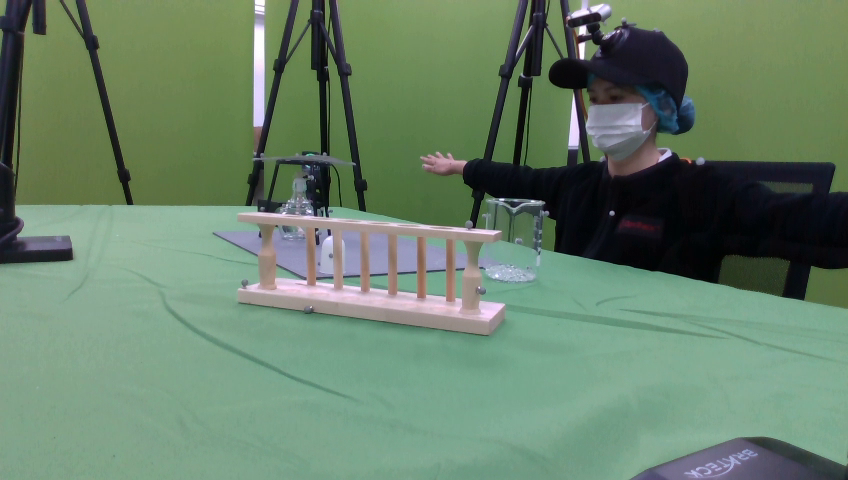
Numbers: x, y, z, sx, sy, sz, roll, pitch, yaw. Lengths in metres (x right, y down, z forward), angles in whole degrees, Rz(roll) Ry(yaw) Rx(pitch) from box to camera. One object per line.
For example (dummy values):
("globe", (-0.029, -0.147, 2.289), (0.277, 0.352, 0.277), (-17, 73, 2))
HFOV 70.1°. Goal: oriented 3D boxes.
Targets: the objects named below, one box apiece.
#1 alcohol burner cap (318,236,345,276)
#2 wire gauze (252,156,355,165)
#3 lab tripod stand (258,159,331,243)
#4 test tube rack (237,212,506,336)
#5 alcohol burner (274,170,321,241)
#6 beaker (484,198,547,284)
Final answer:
("alcohol burner cap", (-0.110, 0.019, 0.723), (0.034, 0.048, 0.034), (2, 6, 0))
("wire gauze", (-0.196, -0.133, 0.999), (0.121, 0.011, 0.125), (4, 5, 22))
("lab tripod stand", (-0.202, -0.067, 1.010), (0.148, 0.131, 0.148), (2, 5, 0))
("test tube rack", (-0.049, 0.024, 0.552), (0.242, 0.085, 0.067), (5, 8, 18))
("alcohol burner", (-0.212, -0.058, 1.015), (0.078, 0.119, 0.078), (4, 5, 0))
("beaker", (0.111, 0.000, 0.744), (0.074, 0.100, 0.084), (3, 8, 9))
